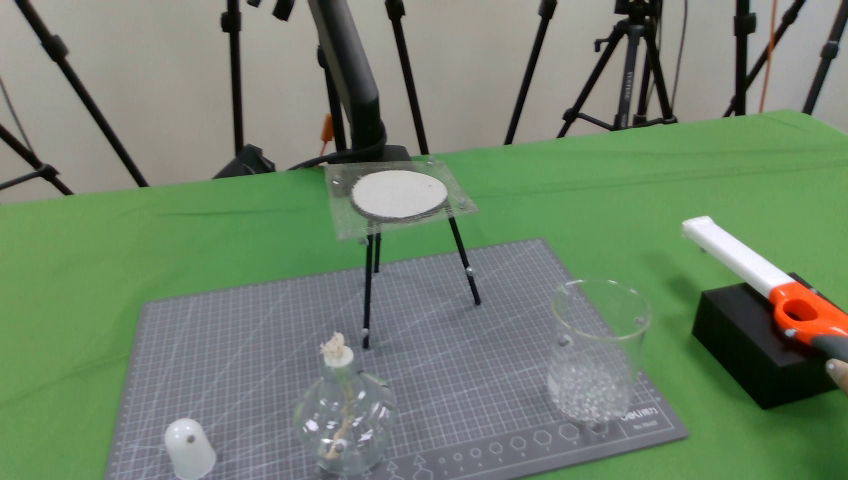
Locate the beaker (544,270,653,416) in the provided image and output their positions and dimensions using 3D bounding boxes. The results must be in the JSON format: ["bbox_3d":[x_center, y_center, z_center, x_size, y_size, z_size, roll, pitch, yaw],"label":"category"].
[{"bbox_3d":[0.134,0.084,0.491,0.074,0.101,0.083,-19,37,-24],"label":"beaker"}]

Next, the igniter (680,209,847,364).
[{"bbox_3d":[0.316,0.045,0.527,0.057,0.025,0.273,-13,33,-9],"label":"igniter"}]

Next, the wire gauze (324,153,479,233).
[{"bbox_3d":[-0.025,-0.049,0.543,0.122,0.011,0.123,-8,35,-11],"label":"wire gauze"}]

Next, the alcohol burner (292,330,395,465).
[{"bbox_3d":[-0.061,0.110,0.448,0.078,0.120,0.077,0,36,1],"label":"alcohol burner"}]

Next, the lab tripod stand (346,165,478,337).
[{"bbox_3d":[-0.019,0.004,0.585,0.148,0.132,0.147,0,33,1],"label":"lab tripod stand"}]

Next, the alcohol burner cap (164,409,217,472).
[{"bbox_3d":[-0.179,0.149,0.461,0.034,0.048,0.033,-1,35,1],"label":"alcohol burner cap"}]
